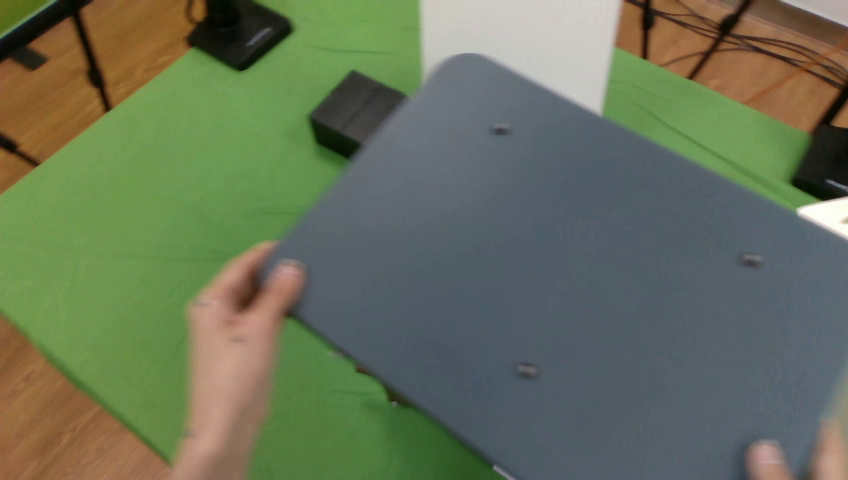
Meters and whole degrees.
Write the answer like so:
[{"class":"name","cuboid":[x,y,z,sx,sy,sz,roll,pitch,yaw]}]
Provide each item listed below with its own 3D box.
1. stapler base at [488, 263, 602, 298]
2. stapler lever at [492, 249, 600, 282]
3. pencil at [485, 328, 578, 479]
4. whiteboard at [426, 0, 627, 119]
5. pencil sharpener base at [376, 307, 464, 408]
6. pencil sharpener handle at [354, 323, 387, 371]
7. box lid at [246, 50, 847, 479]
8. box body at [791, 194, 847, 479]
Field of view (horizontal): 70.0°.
[{"class":"stapler base","cuboid":[0.139,0.042,0.694,0.130,0.024,0.041,0,55,4]},{"class":"stapler lever","cuboid":[0.136,0.029,0.673,0.118,0.040,0.026,0,55,4]},{"class":"pencil","cuboid":[0.109,0.171,0.626,0.012,0.012,0.192,-22,60,-12]},{"class":"whiteboard","cuboid":[0.115,-0.259,0.745,0.217,0.308,0.142,2,40,2]},{"class":"pencil sharpener base","cuboid":[-0.004,0.118,0.602,0.076,0.108,0.061,10,60,7]},{"class":"pencil sharpener handle","cuboid":[-0.055,0.106,0.595,0.030,0.068,0.035,10,46,7]},{"class":"box lid","cuboid":[0.086,0.019,0.423,0.369,0.015,0.262,31,69,15]},{"class":"box body","cuboid":[0.494,0.138,0.557,0.254,0.161,0.360,-10,60,-6]}]
